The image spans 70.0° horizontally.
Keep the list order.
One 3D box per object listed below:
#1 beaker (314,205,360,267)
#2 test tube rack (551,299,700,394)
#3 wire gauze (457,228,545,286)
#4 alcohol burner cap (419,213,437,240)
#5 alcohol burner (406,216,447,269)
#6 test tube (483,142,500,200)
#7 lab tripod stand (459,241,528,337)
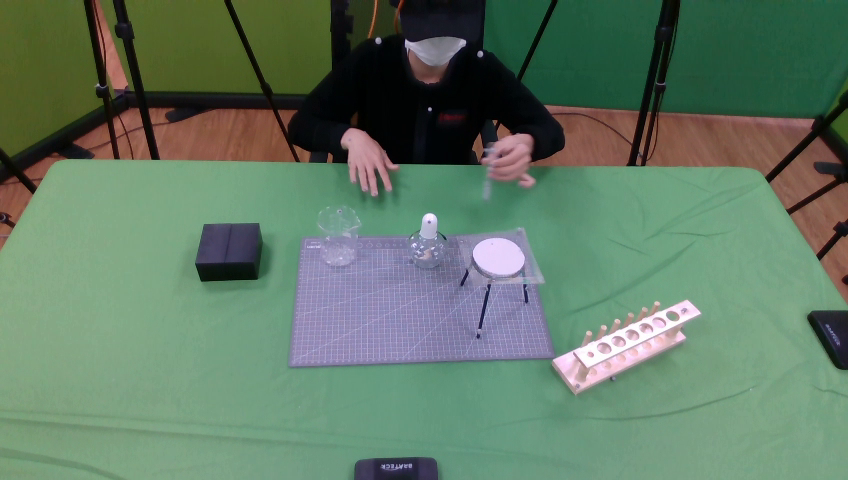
[{"bbox_3d":[-0.160,-0.004,1.132,0.084,0.101,0.073,9,46,3],"label":"beaker"},{"bbox_3d":[0.339,0.166,1.021,0.242,0.085,0.066,-19,50,-21],"label":"test tube rack"},{"bbox_3d":[0.126,0.029,1.006,0.125,0.011,0.120,-4,46,-10],"label":"wire gauze"},{"bbox_3d":[0.009,-0.027,1.109,0.034,0.048,0.033,3,44,-3],"label":"alcohol burner cap"},{"bbox_3d":[0.006,-0.003,1.134,0.078,0.120,0.077,2,48,-2],"label":"alcohol burner"},{"bbox_3d":[0.123,-0.123,1.112,0.017,0.151,0.017,1,55,-1],"label":"test tube"},{"bbox_3d":[0.122,0.075,1.054,0.148,0.132,0.147,3,44,-2],"label":"lab tripod stand"}]
